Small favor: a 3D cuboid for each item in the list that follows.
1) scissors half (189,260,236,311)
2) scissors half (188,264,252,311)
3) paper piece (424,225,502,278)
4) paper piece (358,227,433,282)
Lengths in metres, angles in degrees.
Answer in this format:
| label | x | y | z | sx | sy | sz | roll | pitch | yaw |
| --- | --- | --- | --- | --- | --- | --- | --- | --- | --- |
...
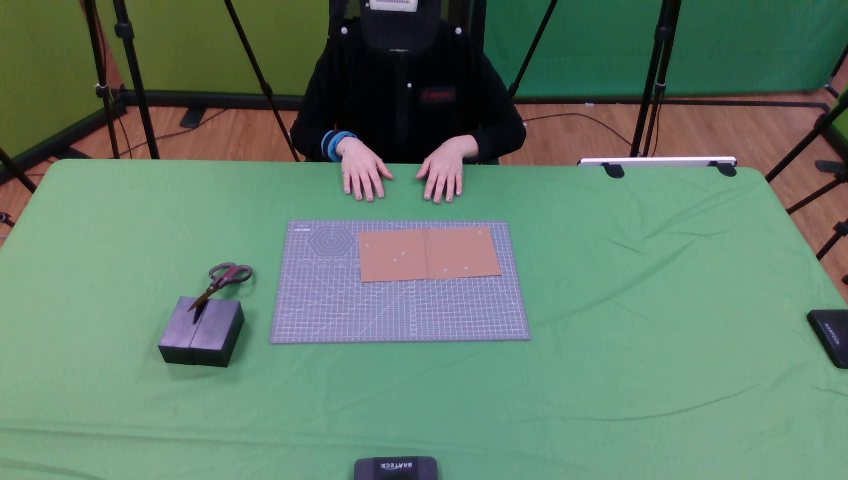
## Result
| label | x | y | z | sx | sy | sz | roll | pitch | yaw |
| --- | --- | --- | --- | --- | --- | --- | --- | --- | --- |
| scissors half | -0.372 | 0.077 | 1.056 | 0.040 | 0.013 | 0.174 | 13 | 25 | -4 |
| scissors half | -0.353 | 0.082 | 1.055 | 0.040 | 0.013 | 0.175 | 16 | 26 | 14 |
| paper piece | 0.074 | 0.020 | 1.190 | 0.138 | 0.009 | 0.135 | -2 | 50 | -7 |
| paper piece | -0.058 | 0.025 | 1.173 | 0.136 | 0.004 | 0.134 | -3 | 47 | -6 |
